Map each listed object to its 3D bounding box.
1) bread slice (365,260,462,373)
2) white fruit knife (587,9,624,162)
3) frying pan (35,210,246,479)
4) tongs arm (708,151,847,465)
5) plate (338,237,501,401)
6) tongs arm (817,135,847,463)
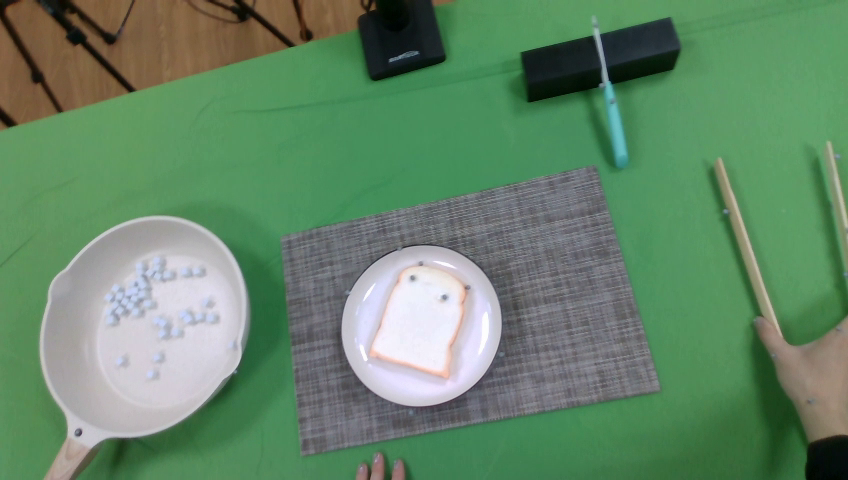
[{"bbox_3d":[-0.009,0.093,0.776,0.106,0.018,0.134,11,77,11],"label":"bread slice"},{"bbox_3d":[0.238,-0.206,0.802,0.016,0.027,0.207,-11,86,6],"label":"white fruit knife"},{"bbox_3d":[-0.411,0.195,0.781,0.305,0.103,0.485,20,70,15],"label":"frying pan"},{"bbox_3d":[0.408,0.069,0.720,0.028,0.028,0.385,-13,73,4],"label":"tongs arm"},{"bbox_3d":[-0.005,0.099,0.772,0.207,0.039,0.206,-3,73,9],"label":"plate"},{"bbox_3d":[0.477,0.059,0.707,0.050,0.027,0.382,-4,74,10],"label":"tongs arm"}]
